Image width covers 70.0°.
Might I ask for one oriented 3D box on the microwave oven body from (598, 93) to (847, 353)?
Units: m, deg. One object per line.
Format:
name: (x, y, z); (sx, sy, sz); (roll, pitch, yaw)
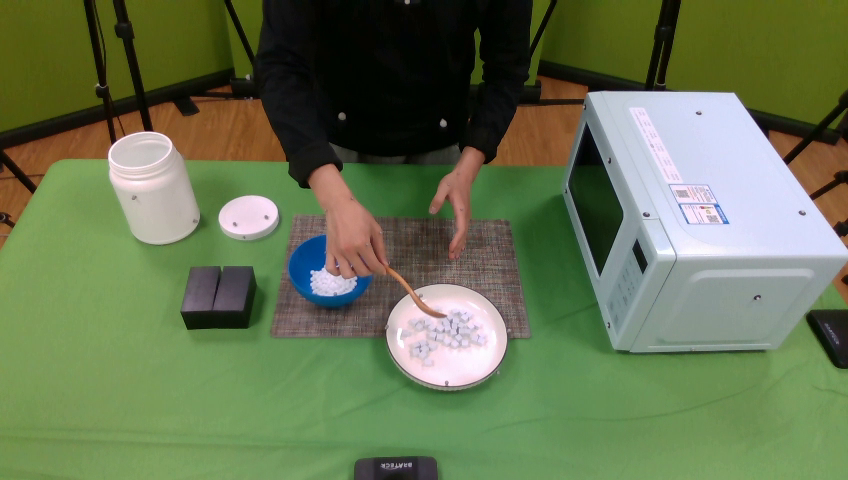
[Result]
microwave oven body: (0.475, -0.041, 1.109); (0.326, 0.261, 0.438); (-1, 45, -4)

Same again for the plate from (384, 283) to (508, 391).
plate: (0.036, 0.165, 1.029); (0.209, 0.038, 0.208); (2, 49, -2)

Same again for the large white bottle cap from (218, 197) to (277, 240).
large white bottle cap: (-0.355, -0.045, 1.220); (0.115, 0.018, 0.114); (2, 45, -1)

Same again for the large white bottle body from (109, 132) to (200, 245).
large white bottle body: (-0.506, -0.097, 1.141); (0.131, 0.185, 0.130); (2, 46, -2)

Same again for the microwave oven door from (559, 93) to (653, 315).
microwave oven door: (0.327, -0.074, 1.123); (0.039, 0.245, 0.353); (-1, 46, -5)

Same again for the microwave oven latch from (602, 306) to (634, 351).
microwave oven latch: (0.332, 0.153, 1.044); (0.030, 0.029, 0.078); (0, 45, -4)

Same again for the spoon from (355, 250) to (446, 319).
spoon: (-0.040, 0.069, 0.972); (0.193, 0.042, 0.021); (40, 95, 23)

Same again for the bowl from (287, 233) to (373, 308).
bowl: (-0.165, 0.068, 1.078); (0.151, 0.077, 0.150); (3, 46, -2)
